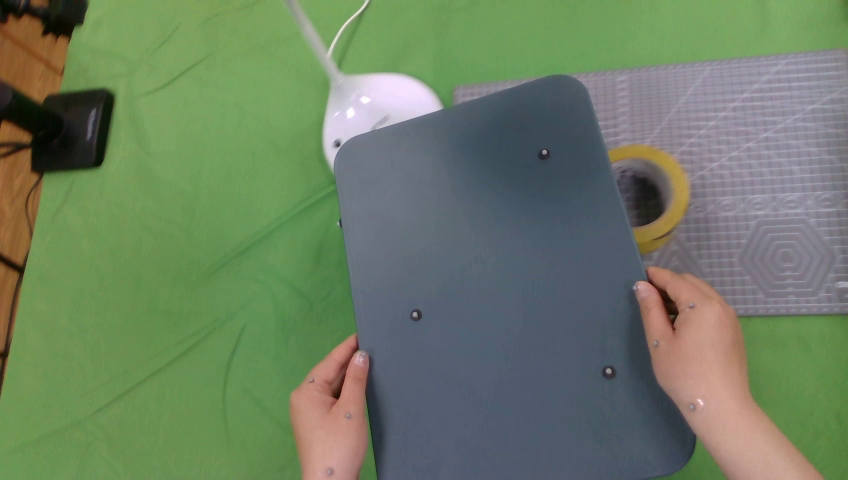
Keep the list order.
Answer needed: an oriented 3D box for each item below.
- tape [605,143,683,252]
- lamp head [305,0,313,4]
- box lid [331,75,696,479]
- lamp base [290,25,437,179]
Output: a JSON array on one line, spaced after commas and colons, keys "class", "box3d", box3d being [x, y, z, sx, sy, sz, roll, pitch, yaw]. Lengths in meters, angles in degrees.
[{"class": "tape", "box3d": [0.220, -0.045, 0.662, 0.116, 0.053, 0.116, -3, 73, 11]}, {"class": "lamp head", "box3d": [-0.100, -0.242, 0.412, 0.123, 0.112, 0.112, 28, 81, -15]}, {"class": "box lid", "box3d": [0.059, 0.035, 0.546, 0.263, 0.015, 0.368, -15, 70, 10]}, {"class": "lamp base", "box3d": [-0.084, -0.161, 0.700, 0.178, 0.182, 0.160, 37, 85, 23]}]
